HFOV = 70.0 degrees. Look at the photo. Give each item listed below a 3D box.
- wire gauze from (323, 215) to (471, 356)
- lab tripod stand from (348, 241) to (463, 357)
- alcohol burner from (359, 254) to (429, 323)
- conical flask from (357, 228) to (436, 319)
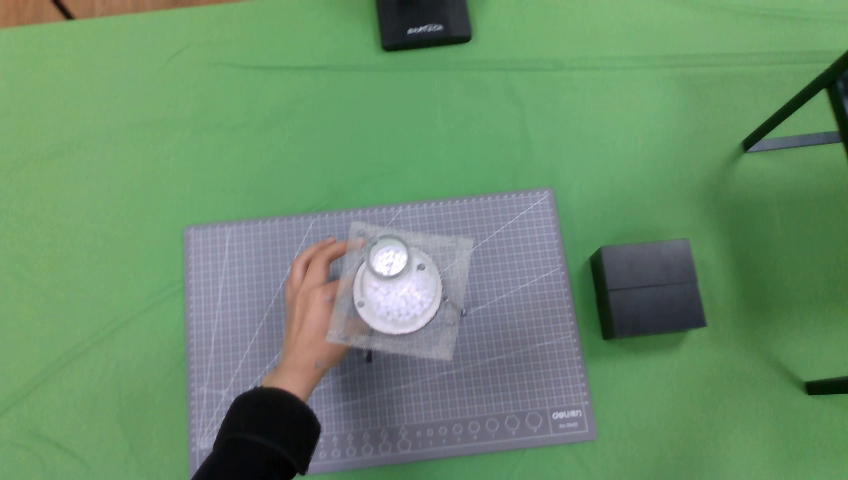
[{"bbox_3d":[-0.024,0.042,0.579,0.121,0.011,0.124,11,74,1],"label":"wire gauze"},{"bbox_3d":[-0.030,0.056,0.644,0.148,0.132,0.147,0,76,2],"label":"lab tripod stand"},{"bbox_3d":[-0.034,0.050,0.655,0.078,0.119,0.077,0,78,0],"label":"alcohol burner"},{"bbox_3d":[-0.027,0.024,0.523,0.075,0.122,0.075,0,75,1],"label":"conical flask"}]
